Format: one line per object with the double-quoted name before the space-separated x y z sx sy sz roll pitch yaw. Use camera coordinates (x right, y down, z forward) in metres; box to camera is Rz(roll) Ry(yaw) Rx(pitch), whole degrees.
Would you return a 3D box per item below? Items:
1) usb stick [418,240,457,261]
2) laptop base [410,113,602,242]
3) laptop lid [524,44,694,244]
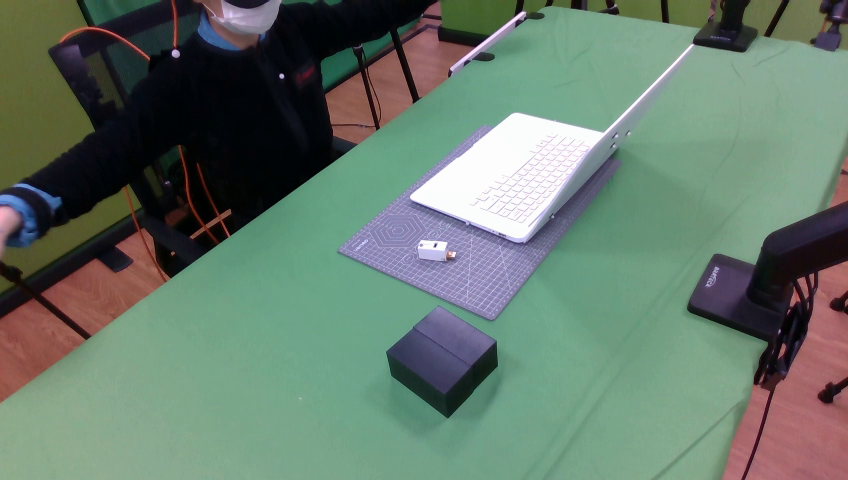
"usb stick" 0.021 0.017 0.938 0.059 0.027 0.021 8 42 13
"laptop base" 0.171 -0.127 1.096 0.233 0.023 0.355 21 47 34
"laptop lid" 0.290 -0.151 0.941 0.013 0.241 0.358 40 54 12
